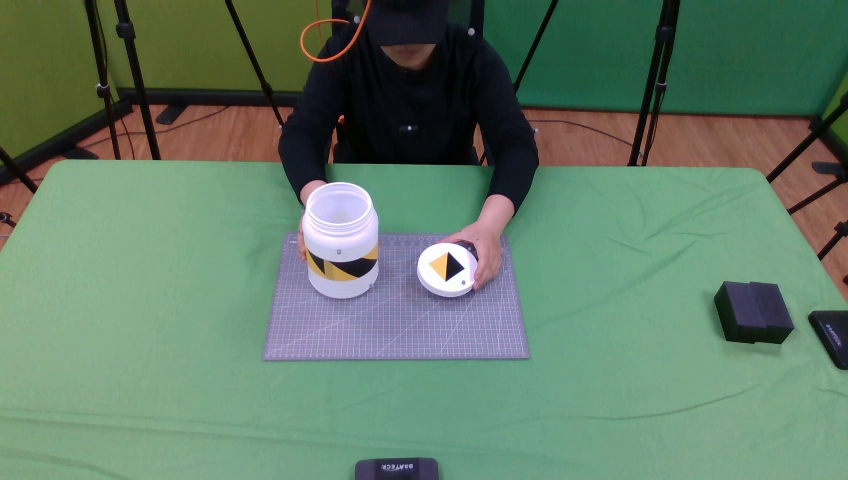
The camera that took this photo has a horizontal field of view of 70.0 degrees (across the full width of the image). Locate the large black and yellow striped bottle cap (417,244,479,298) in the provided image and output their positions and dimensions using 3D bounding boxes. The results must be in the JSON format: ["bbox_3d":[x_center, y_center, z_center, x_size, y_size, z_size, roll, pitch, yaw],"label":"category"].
[{"bbox_3d":[0.044,0.055,1.119,0.115,0.019,0.114,4,49,-4],"label":"large black and yellow striped bottle cap"}]

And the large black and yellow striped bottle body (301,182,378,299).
[{"bbox_3d":[-0.147,0.001,1.070,0.131,0.185,0.130,2,46,-2],"label":"large black and yellow striped bottle body"}]
